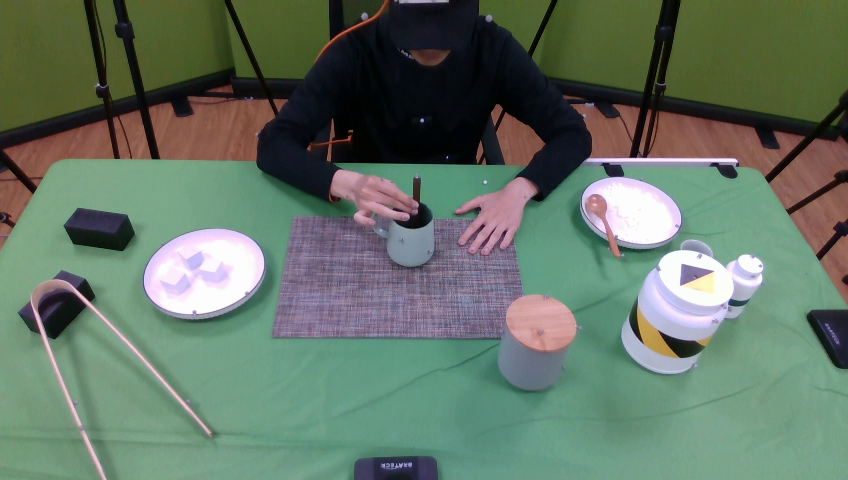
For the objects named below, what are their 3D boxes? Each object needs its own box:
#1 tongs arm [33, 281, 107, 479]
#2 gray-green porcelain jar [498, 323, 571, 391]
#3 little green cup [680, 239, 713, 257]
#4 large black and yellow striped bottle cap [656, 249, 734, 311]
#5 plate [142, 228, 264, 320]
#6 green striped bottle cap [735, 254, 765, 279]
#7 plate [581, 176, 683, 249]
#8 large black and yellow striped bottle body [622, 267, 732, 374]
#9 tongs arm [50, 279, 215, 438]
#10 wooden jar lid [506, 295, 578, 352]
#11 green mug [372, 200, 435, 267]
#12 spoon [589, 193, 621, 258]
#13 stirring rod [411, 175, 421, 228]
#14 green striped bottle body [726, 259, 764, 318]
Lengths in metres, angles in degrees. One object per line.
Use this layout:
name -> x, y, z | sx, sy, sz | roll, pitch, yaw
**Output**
tongs arm -> -0.517, 0.214, 0.910 | 0.051, 0.026, 0.383 | -28, 63, -27
gray-green porcelain jar -> 0.176, 0.172, 0.971 | 0.106, 0.127, 0.105 | 2, 46, -2
little green cup -> 0.530, 0.033, 1.189 | 0.061, 0.039, 0.061 | 2, 48, -2
large black and yellow striped bottle cap -> 0.419, 0.061, 0.938 | 0.115, 0.019, 0.114 | 2, 47, -2
plate -> -0.394, 0.064, 1.095 | 0.208, 0.039, 0.206 | 2, 46, -2
green striped bottle cap -> 0.566, 0.046, 1.051 | 0.044, 0.020, 0.044 | 0, 45, 0
plate -> 0.430, -0.054, 1.267 | 0.209, 0.038, 0.208 | 2, 46, -2
large black and yellow striped bottle body -> 0.415, 0.119, 0.997 | 0.131, 0.185, 0.130 | 2, 46, -2
tongs arm -> -0.459, 0.178, 0.949 | 0.386, 0.028, 0.028 | 38, 60, 17
wooden jar lid -> 0.179, 0.130, 0.926 | 0.108, 0.021, 0.107 | 2, 43, -2
green mug -> -0.040, -0.015, 1.146 | 0.125, 0.105, 0.092 | 17, 48, 13
spoon -> 0.367, -0.032, 1.220 | 0.041, 0.022, 0.192 | 1, 38, -1
stirring rod -> -0.016, -0.055, 1.121 | 0.014, 0.177, 0.006 | 2, 50, -1
green striped bottle body -> 0.563, 0.081, 1.089 | 0.063, 0.120, 0.063 | 2, 46, -2
